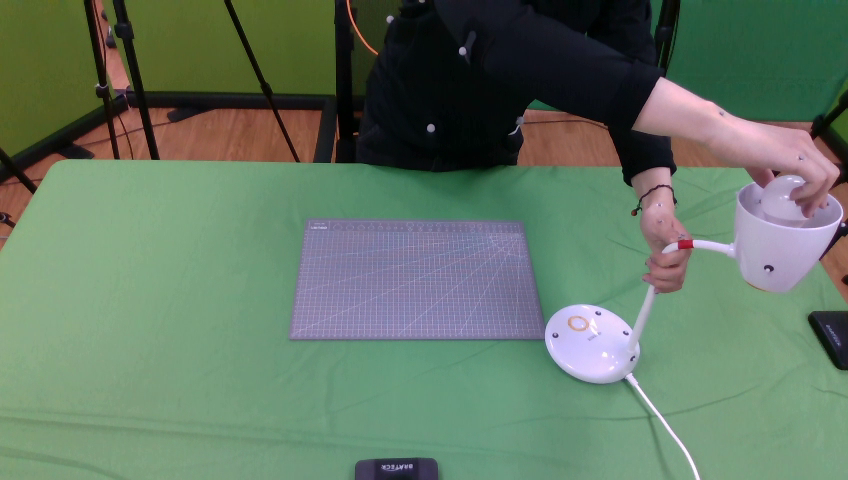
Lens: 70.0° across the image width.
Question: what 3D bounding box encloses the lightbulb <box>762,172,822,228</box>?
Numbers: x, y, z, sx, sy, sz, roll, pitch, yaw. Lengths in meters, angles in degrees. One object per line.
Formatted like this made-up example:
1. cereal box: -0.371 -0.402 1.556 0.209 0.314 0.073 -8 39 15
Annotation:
1. lightbulb: 0.427 -0.027 0.712 0.059 0.108 0.059 -4 27 2

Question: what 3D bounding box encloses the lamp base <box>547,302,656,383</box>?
1. lamp base: 0.304 0.127 0.982 0.160 0.181 0.178 -33 59 -29

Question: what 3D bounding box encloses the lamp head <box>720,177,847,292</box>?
1. lamp head: 0.421 0.000 0.726 0.112 0.123 0.112 -1 38 1
